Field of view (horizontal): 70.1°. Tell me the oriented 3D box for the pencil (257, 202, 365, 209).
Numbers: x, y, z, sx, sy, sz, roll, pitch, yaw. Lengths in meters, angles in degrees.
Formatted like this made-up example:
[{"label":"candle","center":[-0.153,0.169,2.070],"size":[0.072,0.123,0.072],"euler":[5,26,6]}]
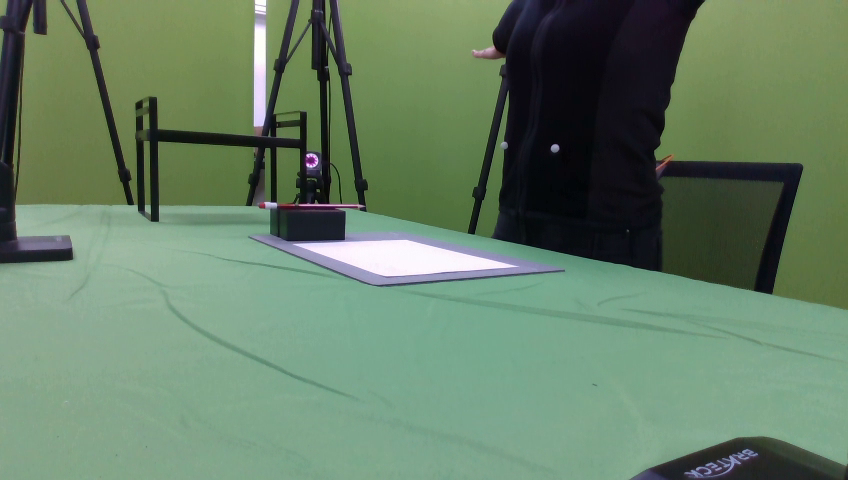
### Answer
[{"label":"pencil","center":[-0.191,-0.060,1.046],"size":[0.195,0.012,0.012],"euler":[-2,9,-30]}]
